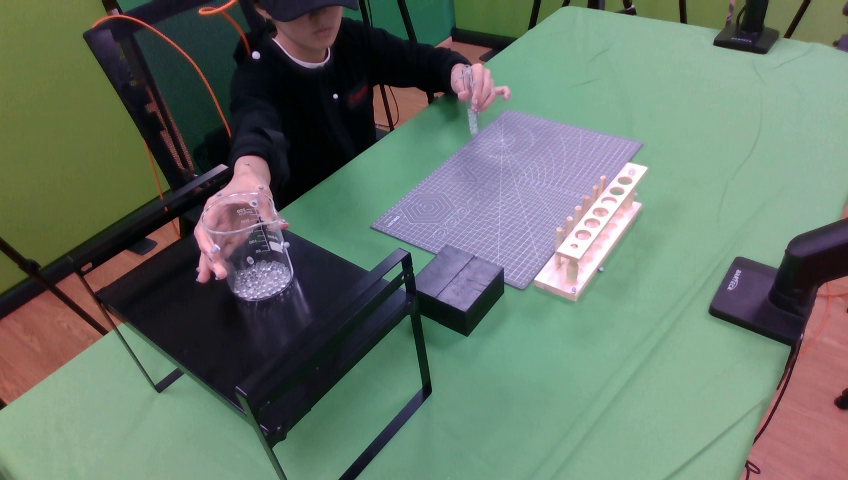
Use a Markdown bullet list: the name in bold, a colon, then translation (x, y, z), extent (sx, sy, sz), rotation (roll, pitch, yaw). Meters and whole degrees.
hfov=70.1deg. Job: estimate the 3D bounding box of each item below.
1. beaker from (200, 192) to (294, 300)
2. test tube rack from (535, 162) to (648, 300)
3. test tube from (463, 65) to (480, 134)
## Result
- **beaker**: translation (-0.183, 0.009, 0.653), extent (0.083, 0.101, 0.074), rotation (6, 40, 17)
- **test tube rack**: translation (0.257, -0.024, 0.916), extent (0.066, 0.085, 0.243), rotation (22, 49, 30)
- **test tube**: translation (0.084, -0.244, 1.065), extent (0.017, 0.151, 0.017), rotation (-5, 53, 8)
